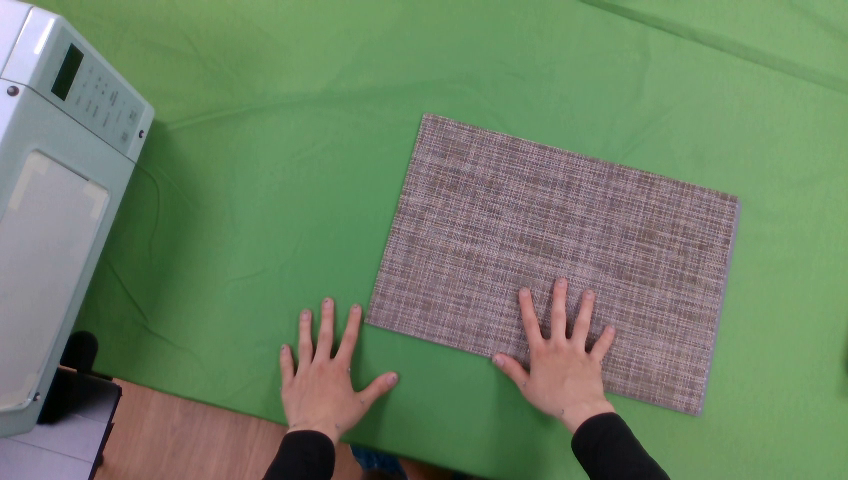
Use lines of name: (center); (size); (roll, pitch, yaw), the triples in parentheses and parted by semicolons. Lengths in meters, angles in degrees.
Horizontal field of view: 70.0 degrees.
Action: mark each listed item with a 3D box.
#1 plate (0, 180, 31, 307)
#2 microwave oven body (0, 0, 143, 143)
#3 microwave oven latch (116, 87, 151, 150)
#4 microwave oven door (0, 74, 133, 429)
plate: (-0.566, 0.009, 0.711); (0.209, 0.038, 0.208); (1, 83, -4)
microwave oven body: (-0.567, -0.047, 0.661); (0.326, 0.260, 0.440); (16, 82, 0)
microwave oven latch: (-0.380, -0.160, 0.783); (0.030, 0.029, 0.079); (18, 82, 0)
microwave oven door: (-0.438, 0.032, 0.650); (0.039, 0.244, 0.354); (15, 81, 1)
